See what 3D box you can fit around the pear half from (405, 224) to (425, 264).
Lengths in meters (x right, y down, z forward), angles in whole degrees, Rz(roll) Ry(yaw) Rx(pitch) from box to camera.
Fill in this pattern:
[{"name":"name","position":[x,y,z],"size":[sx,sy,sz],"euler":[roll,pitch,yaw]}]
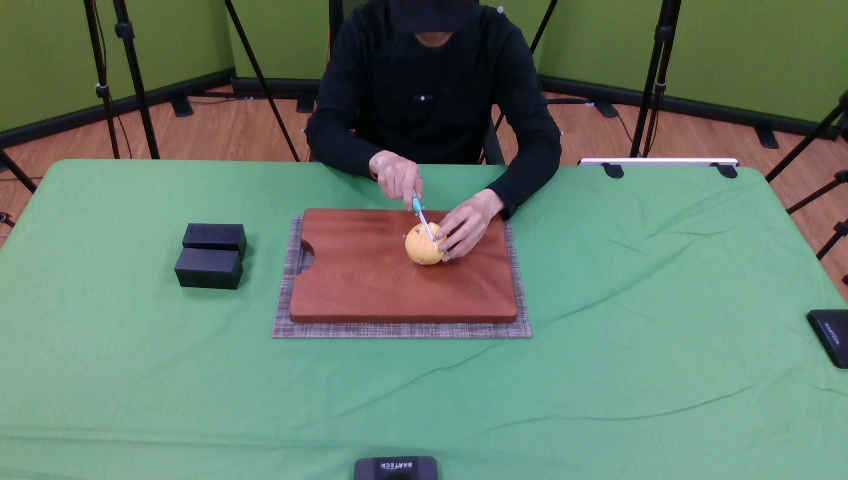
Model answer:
[{"name":"pear half","position":[-0.018,0.005,1.102],"size":[0.031,0.088,0.070],"euler":[-10,54,-13]}]

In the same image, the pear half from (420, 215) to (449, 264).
[{"name":"pear half","position":[0.019,-0.007,1.100],"size":[0.056,0.110,0.076],"euler":[-9,53,-15]}]

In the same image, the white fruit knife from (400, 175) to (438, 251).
[{"name":"white fruit knife","position":[-0.008,-0.052,1.086],"size":[0.016,0.027,0.206],"euler":[-16,48,-10]}]
